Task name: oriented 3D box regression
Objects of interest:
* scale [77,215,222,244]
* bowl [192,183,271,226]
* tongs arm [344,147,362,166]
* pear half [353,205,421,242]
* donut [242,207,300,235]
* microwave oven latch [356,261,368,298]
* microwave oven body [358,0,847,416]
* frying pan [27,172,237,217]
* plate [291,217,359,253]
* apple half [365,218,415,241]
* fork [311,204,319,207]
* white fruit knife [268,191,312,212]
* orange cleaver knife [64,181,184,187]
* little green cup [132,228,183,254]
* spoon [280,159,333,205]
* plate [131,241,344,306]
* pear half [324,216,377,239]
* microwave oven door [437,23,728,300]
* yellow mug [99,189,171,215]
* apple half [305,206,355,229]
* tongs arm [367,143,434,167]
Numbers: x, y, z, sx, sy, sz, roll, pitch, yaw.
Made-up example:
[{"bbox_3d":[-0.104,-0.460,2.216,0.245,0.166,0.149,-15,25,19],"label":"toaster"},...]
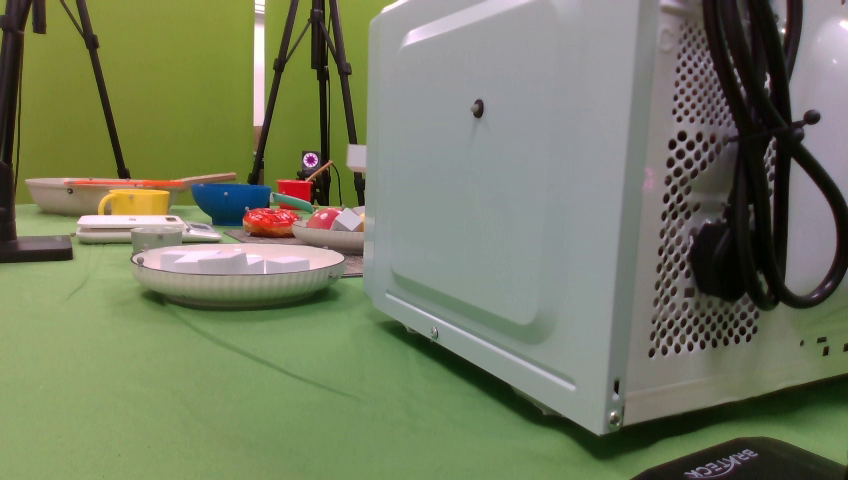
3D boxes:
[{"bbox_3d":[-0.434,-0.019,0.963,0.202,0.031,0.148,-1,9,-27],"label":"scale"},{"bbox_3d":[-0.382,-0.071,1.202,0.151,0.077,0.151,3,7,0],"label":"bowl"},{"bbox_3d":[-0.063,-0.151,1.044,0.028,0.028,0.388,-2,10,14],"label":"tongs arm"},{"bbox_3d":[-0.051,-0.024,0.905,0.110,0.056,0.076,1,-1,-38],"label":"pear half"},{"bbox_3d":[-0.263,-0.031,1.039,0.099,0.048,0.099,4,9,0],"label":"donut"},{"bbox_3d":[-0.019,0.033,0.530,0.079,0.029,0.030,0,7,-26],"label":"microwave oven latch"},{"bbox_3d":[0.211,-0.047,0.475,0.444,0.260,0.324,-1,7,-28],"label":"microwave oven body"},{"bbox_3d":[-0.624,-0.118,1.387,0.305,0.102,0.490,8,17,32],"label":"frying pan"},{"bbox_3d":[-0.103,-0.009,0.945,0.209,0.038,0.209,2,7,0],"label":"plate"},{"bbox_3d":[-0.053,-0.019,0.966,0.081,0.033,0.081,-3,11,1],"label":"apple half"},{"bbox_3d":[-0.356,-0.105,1.526,0.208,0.018,0.028,16,-5,-41],"label":"fork"},{"bbox_3d":[-0.364,-0.105,1.464,0.208,0.027,0.016,15,-1,-34],"label":"white fruit knife"},{"bbox_3d":[-0.596,-0.113,1.212,0.212,0.012,0.077,-3,7,-41],"label":"orange cleaver knife"},{"bbox_3d":[-0.342,0.006,0.779,0.061,0.038,0.061,2,8,0],"label":"little green cup"},{"bbox_3d":[-0.317,-0.159,1.640,0.194,0.022,0.041,-49,32,-20],"label":"spoon"},{"bbox_3d":[-0.187,0.033,0.625,0.208,0.039,0.207,2,7,0],"label":"plate"},{"bbox_3d":[-0.119,-0.023,0.996,0.088,0.031,0.070,-5,23,-27],"label":"pear half"},{"bbox_3d":[0.180,-0.072,0.621,0.358,0.243,0.039,-2,8,-29],"label":"microwave oven door"},{"bbox_3d":[-0.519,-0.055,1.080,0.099,0.064,0.131,7,9,26],"label":"yellow mug"},{"bbox_3d":[-0.138,-0.025,0.917,0.081,0.053,0.074,0,10,-43],"label":"apple half"},{"bbox_3d":[-0.040,-0.150,1.039,0.050,0.026,0.386,2,11,18],"label":"tongs arm"}]
